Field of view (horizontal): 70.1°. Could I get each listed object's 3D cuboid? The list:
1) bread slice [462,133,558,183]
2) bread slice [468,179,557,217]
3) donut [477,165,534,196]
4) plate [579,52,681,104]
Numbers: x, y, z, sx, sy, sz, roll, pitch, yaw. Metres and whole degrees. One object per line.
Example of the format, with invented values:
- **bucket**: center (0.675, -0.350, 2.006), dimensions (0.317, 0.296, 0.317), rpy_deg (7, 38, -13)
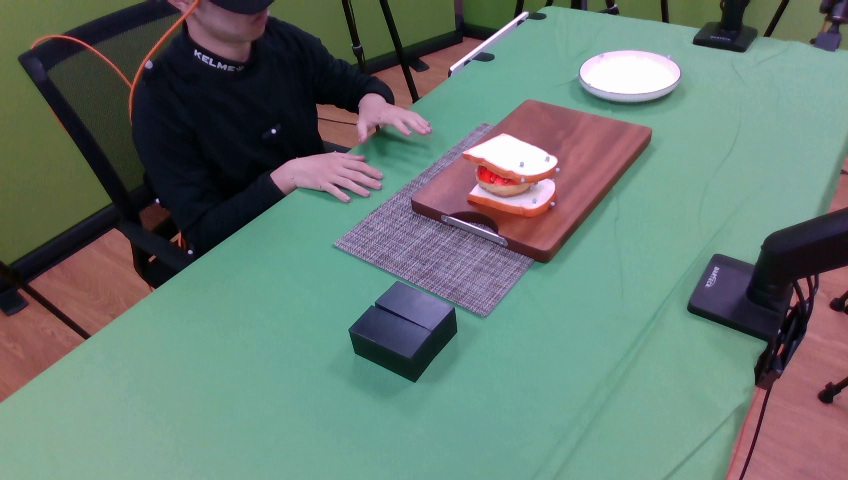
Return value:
- **bread slice**: center (0.146, -0.131, 0.971), dimensions (0.133, 0.018, 0.107), rpy_deg (29, 43, 32)
- **bread slice**: center (0.154, -0.083, 1.004), dimensions (0.130, 0.019, 0.105), rpy_deg (19, 48, 29)
- **donut**: center (0.136, -0.109, 0.991), dimensions (0.099, 0.048, 0.098), rpy_deg (-4, 39, 3)
- **plate**: center (0.437, -0.343, 1.294), dimensions (0.209, 0.038, 0.208), rpy_deg (-4, 40, 4)
